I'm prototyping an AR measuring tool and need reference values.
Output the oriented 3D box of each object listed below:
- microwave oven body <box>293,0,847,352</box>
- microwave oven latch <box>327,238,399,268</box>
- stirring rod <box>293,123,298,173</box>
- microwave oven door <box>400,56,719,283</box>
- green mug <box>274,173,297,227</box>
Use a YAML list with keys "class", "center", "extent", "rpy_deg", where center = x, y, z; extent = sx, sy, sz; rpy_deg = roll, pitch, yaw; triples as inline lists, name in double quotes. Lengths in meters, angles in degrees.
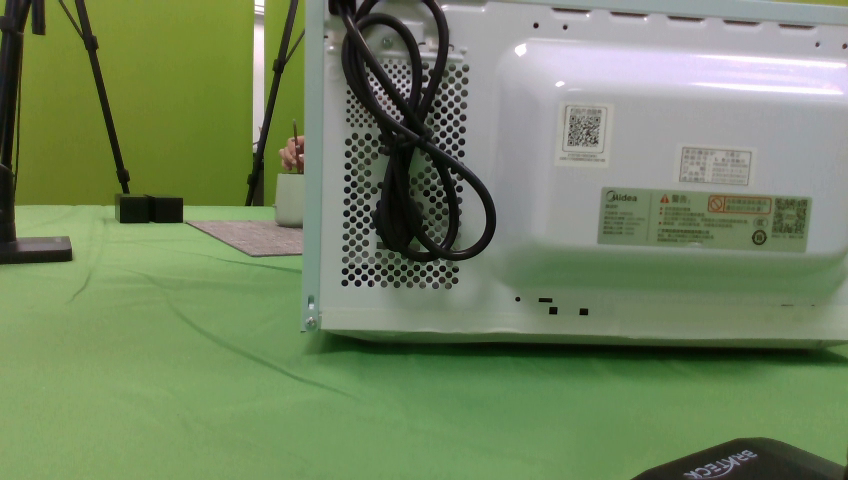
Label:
- class: "microwave oven body"
  center: [0.122, -0.055, 0.550]
  extent: [0.442, 0.260, 0.325]
  rpy_deg: [3, 7, -5]
- class: "microwave oven latch"
  center: [-0.069, 0.015, 0.694]
  extent: [0.079, 0.029, 0.030]
  rpy_deg: [3, 7, -3]
- class: "stirring rod"
  center: [-0.248, -0.141, 1.187]
  extent: [0.006, 0.176, 0.014]
  rpy_deg: [-4, 6, -6]
- class: "microwave oven door"
  center: [0.155, -0.078, 0.697]
  extent: [0.356, 0.243, 0.039]
  rpy_deg: [2, 8, -5]
- class: "green mug"
  center: [-0.242, -0.081, 1.221]
  extent: [0.092, 0.105, 0.126]
  rpy_deg: [8, 9, 40]
